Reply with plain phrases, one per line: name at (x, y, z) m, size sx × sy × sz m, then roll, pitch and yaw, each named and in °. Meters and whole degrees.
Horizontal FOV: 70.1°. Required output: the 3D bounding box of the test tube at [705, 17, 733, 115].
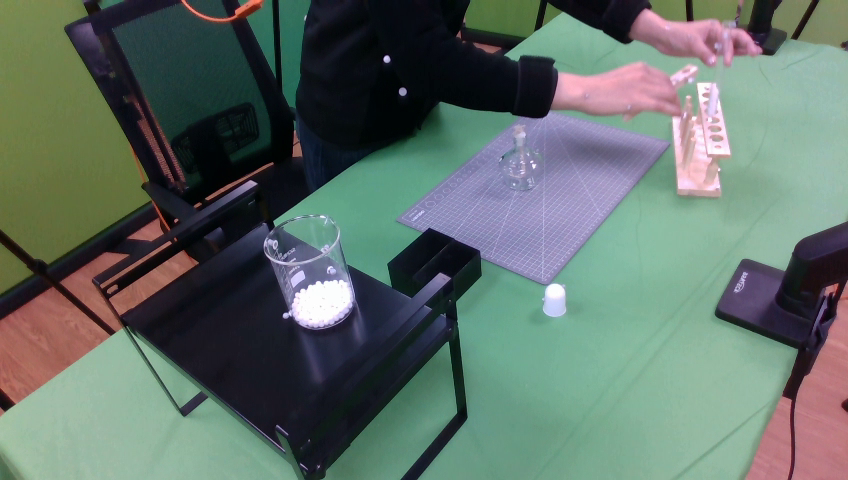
test tube at (0.467, -0.275, 0.960) m, size 0.017 × 0.150 × 0.017 m, roll 1°, pitch 23°, yaw 0°

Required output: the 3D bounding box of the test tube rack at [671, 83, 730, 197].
test tube rack at (0.482, -0.184, 1.067) m, size 0.066 × 0.085 × 0.242 m, roll 5°, pitch 42°, yaw 15°

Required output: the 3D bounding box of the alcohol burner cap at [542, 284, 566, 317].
alcohol burner cap at (0.182, 0.081, 0.839) m, size 0.034 × 0.048 × 0.033 m, roll -4°, pitch 42°, yaw 4°

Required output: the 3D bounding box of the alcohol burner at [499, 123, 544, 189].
alcohol burner at (0.169, -0.149, 1.048) m, size 0.078 × 0.119 × 0.077 m, roll -6°, pitch 41°, yaw 5°

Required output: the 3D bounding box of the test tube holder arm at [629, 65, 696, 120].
test tube holder arm at (0.351, -0.218, 0.883) m, size 0.013 × 0.015 × 0.179 m, roll 24°, pitch 48°, yaw 40°

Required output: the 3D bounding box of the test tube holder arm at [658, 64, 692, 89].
test tube holder arm at (0.378, -0.243, 0.909) m, size 0.088 × 0.015 × 0.010 m, roll -36°, pitch 42°, yaw -30°

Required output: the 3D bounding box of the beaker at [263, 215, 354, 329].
beaker at (-0.112, 0.034, 0.616) m, size 0.073 × 0.101 × 0.084 m, roll 13°, pitch 44°, yaw 23°
